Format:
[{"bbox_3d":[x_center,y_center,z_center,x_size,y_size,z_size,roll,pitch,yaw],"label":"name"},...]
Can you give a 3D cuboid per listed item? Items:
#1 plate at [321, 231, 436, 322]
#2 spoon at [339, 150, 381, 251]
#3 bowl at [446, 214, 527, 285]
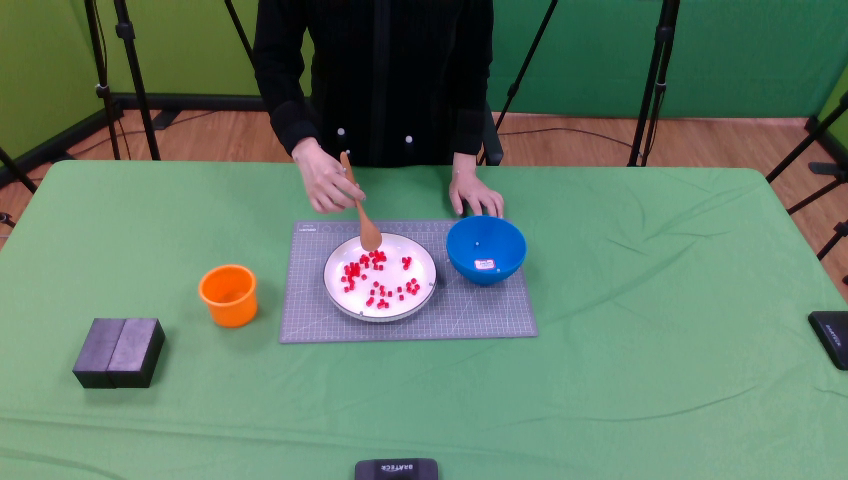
[{"bbox_3d":[-0.083,0.070,1.109,0.209,0.038,0.208,3,46,-3],"label":"plate"},{"bbox_3d":[-0.115,-0.063,1.043,0.041,0.194,0.021,-23,25,-13],"label":"spoon"},{"bbox_3d":[0.112,0.031,1.134,0.151,0.077,0.150,2,46,-2],"label":"bowl"}]
